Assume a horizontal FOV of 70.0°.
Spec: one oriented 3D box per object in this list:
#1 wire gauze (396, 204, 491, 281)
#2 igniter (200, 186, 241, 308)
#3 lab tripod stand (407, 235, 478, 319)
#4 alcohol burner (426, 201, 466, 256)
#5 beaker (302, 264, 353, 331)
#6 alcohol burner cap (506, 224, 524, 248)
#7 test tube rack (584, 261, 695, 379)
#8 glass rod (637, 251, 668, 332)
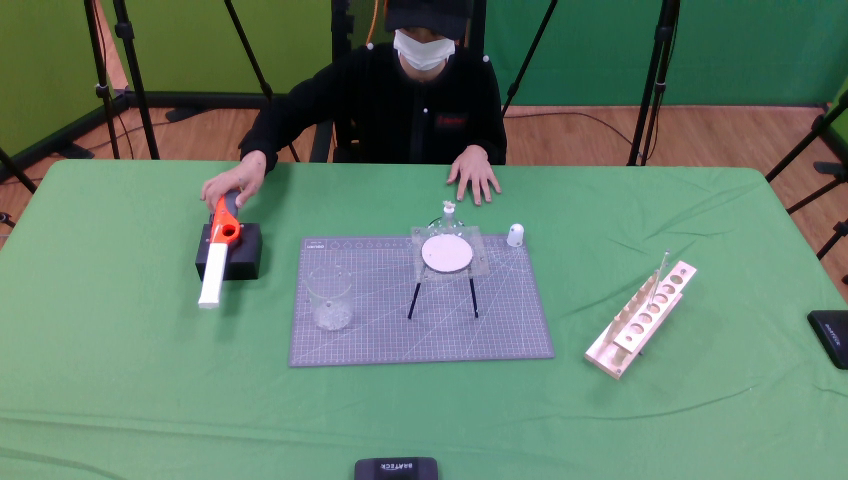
[{"bbox_3d":[0.032,0.004,0.999,0.125,0.011,0.120,-22,54,-14],"label":"wire gauze"},{"bbox_3d":[-0.366,0.003,1.092,0.057,0.025,0.274,2,50,-9],"label":"igniter"},{"bbox_3d":[0.032,0.065,1.057,0.148,0.132,0.147,1,45,-1],"label":"lab tripod stand"},{"bbox_3d":[0.043,-0.026,1.161,0.078,0.120,0.077,1,47,-1],"label":"alcohol burner"},{"bbox_3d":[-0.162,0.101,1.030,0.084,0.101,0.073,4,46,0],"label":"beaker"},{"bbox_3d":[0.183,-0.010,1.206,0.034,0.048,0.033,1,46,-1],"label":"alcohol burner cap"},{"bbox_3d":[0.380,0.127,1.062,0.066,0.085,0.242,34,53,26],"label":"test tube rack"},{"bbox_3d":[0.378,0.089,1.005,0.008,0.201,0.008,-1,44,1],"label":"glass rod"}]
